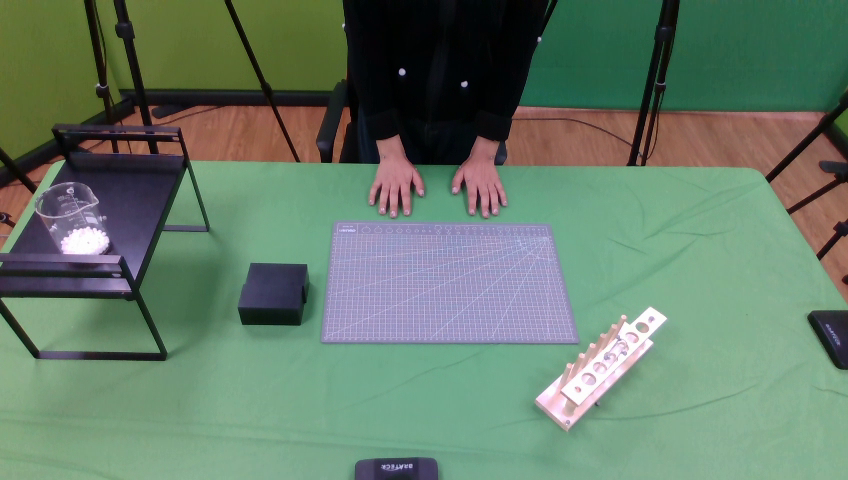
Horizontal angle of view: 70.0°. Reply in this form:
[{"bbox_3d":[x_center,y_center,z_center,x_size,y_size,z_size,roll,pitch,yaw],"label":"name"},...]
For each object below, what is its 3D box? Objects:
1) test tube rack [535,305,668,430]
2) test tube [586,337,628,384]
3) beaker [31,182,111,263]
[{"bbox_3d":[0.290,0.193,0.984,0.242,0.085,0.066,-32,56,-30],"label":"test tube rack"},{"bbox_3d":[0.273,0.191,0.916,0.017,0.151,0.017,5,50,-6],"label":"test tube"},{"bbox_3d":[-0.502,-0.022,0.877,0.084,0.101,0.073,-2,47,-7],"label":"beaker"}]
